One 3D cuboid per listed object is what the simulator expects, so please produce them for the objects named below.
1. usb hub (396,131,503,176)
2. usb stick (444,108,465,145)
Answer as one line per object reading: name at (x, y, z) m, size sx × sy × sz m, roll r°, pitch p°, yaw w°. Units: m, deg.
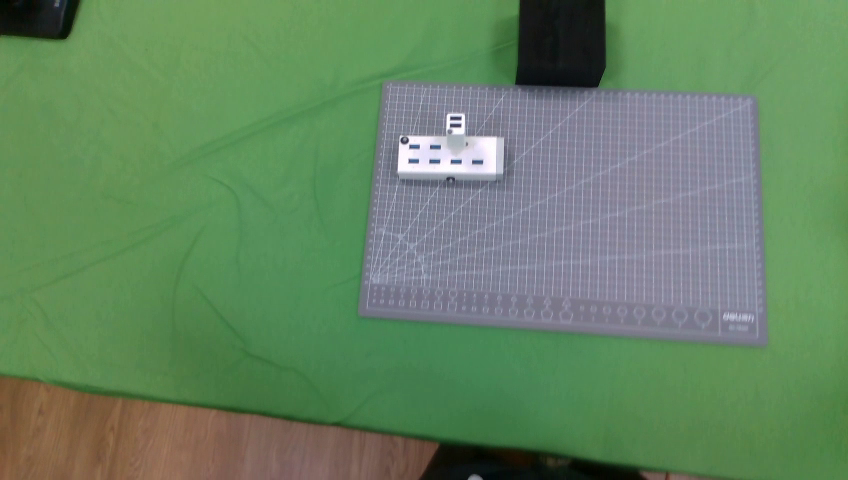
usb hub at (0.030, -0.103, 0.716) m, size 0.125 × 0.025 × 0.049 m, roll 2°, pitch 77°, yaw 4°
usb stick at (0.035, -0.125, 0.688) m, size 0.021 × 0.059 × 0.027 m, roll -1°, pitch 74°, yaw 5°
